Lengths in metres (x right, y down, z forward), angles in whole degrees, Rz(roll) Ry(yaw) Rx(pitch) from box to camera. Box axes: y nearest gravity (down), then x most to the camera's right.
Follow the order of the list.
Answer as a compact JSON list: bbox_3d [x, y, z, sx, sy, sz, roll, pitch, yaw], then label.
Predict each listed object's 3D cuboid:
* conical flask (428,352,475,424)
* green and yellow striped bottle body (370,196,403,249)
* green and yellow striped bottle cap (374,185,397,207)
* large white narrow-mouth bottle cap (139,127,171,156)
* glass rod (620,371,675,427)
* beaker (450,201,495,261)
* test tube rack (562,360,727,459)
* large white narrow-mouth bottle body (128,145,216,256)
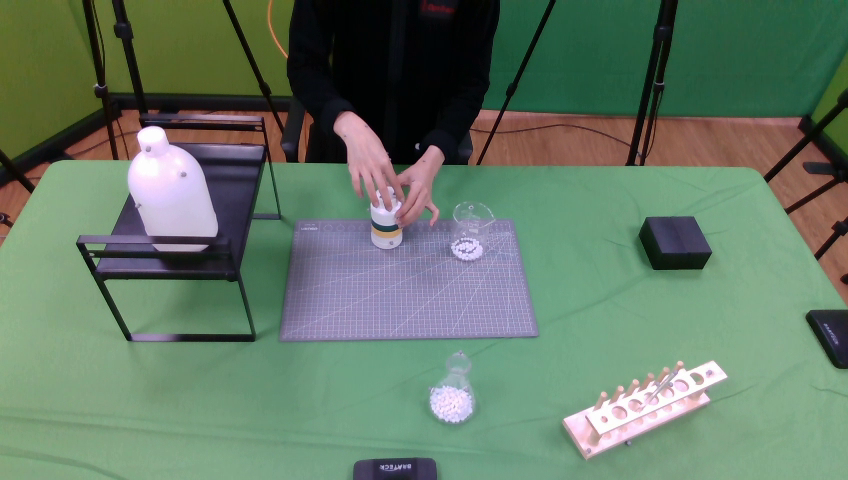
[{"bbox_3d":[0.046,0.220,0.920,0.075,0.122,0.075,2,46,-2],"label":"conical flask"},{"bbox_3d":[-0.073,-0.045,1.163,0.063,0.120,0.063,2,46,-2],"label":"green and yellow striped bottle body"},{"bbox_3d":[-0.071,-0.081,1.126,0.045,0.020,0.045,4,48,-4],"label":"green and yellow striped bottle cap"},{"bbox_3d":[-0.359,-0.132,0.807,0.038,0.024,0.037,3,47,-3],"label":"large white narrow-mouth bottle cap"},{"bbox_3d":[0.316,0.230,0.863,0.008,0.200,0.008,3,54,-3],"label":"glass rod"},{"bbox_3d":[0.089,-0.014,1.161,0.084,0.101,0.073,9,47,4],"label":"beaker"},{"bbox_3d":[0.341,0.247,0.940,0.243,0.085,0.066,-16,49,-18],"label":"test tube rack"},{"bbox_3d":[-0.366,-0.073,0.872,0.102,0.195,0.101,3,47,-3],"label":"large white narrow-mouth bottle body"}]
